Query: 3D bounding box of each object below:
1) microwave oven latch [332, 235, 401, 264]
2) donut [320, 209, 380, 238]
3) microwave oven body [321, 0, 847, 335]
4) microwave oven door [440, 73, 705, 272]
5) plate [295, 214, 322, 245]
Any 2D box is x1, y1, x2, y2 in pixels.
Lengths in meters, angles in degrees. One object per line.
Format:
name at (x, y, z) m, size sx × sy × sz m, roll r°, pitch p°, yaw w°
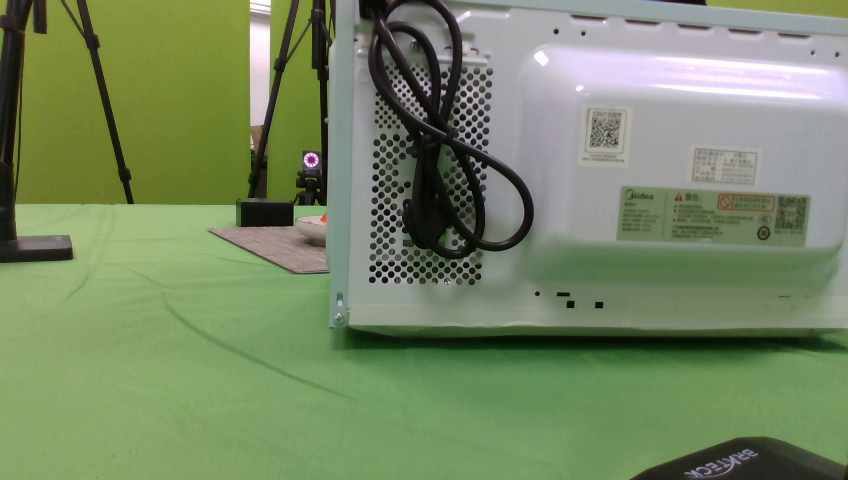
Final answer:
microwave oven latch at (-0.066, 0.010, 0.701) m, size 0.079 × 0.029 × 0.030 m, roll 2°, pitch 7°, yaw -8°
donut at (-0.121, -0.027, 0.995) m, size 0.099 × 0.048 × 0.099 m, roll 2°, pitch 5°, yaw 0°
microwave oven body at (0.133, -0.062, 0.568) m, size 0.443 × 0.260 × 0.325 m, roll 2°, pitch 7°, yaw -8°
microwave oven door at (0.184, -0.098, 0.832) m, size 0.354 × 0.243 × 0.039 m, roll 7°, pitch 9°, yaw 32°
plate at (-0.107, -0.015, 0.997) m, size 0.209 × 0.038 × 0.209 m, roll 2°, pitch 7°, yaw 0°
